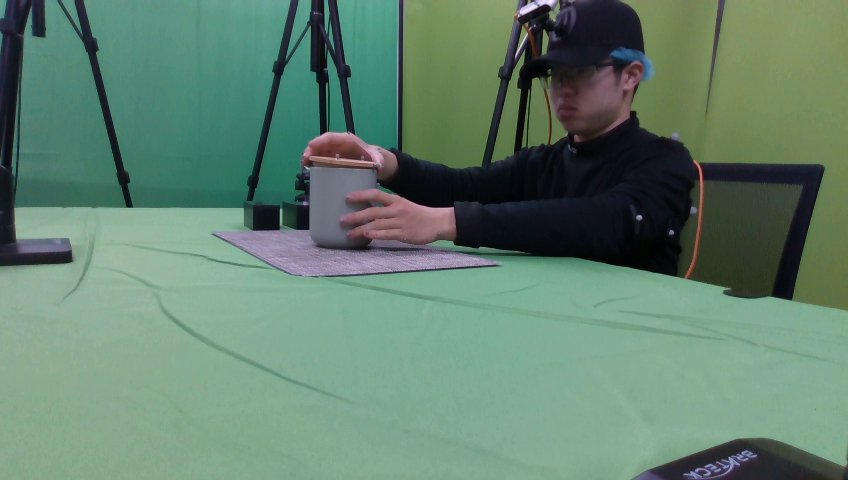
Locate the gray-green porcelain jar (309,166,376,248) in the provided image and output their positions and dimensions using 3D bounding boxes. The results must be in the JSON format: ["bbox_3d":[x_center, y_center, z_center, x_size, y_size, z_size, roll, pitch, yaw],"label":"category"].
[{"bbox_3d":[-0.130,-0.054,0.966,0.106,0.126,0.106,2,7,0],"label":"gray-green porcelain jar"}]

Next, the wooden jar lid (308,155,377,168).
[{"bbox_3d":[-0.128,-0.120,0.956,0.108,0.020,0.108,6,9,-1],"label":"wooden jar lid"}]
